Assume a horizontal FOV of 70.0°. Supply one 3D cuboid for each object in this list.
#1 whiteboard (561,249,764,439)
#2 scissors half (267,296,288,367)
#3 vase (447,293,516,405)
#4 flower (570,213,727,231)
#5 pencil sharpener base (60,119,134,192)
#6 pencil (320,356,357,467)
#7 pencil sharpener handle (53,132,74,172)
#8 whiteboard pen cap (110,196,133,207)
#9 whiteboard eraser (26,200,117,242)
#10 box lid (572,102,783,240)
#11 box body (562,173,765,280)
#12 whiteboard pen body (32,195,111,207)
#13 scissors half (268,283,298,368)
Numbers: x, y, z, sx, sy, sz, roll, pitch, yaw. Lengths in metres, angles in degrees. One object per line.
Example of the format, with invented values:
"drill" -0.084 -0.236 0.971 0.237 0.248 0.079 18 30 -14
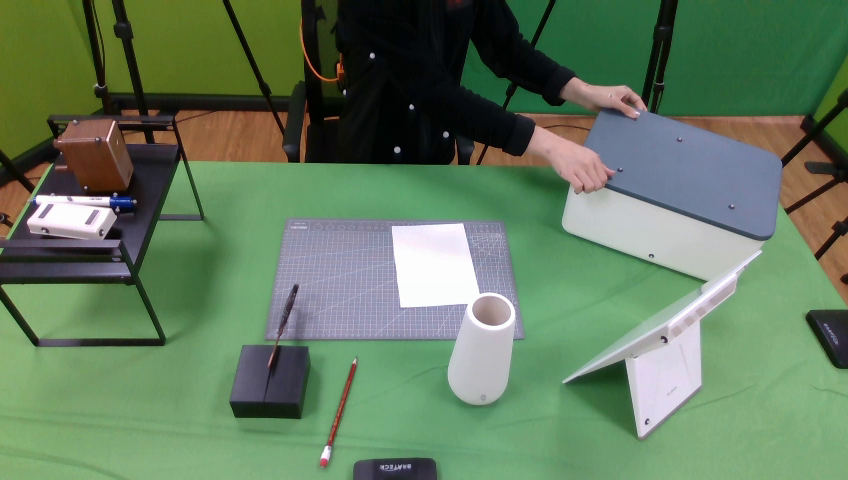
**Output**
"whiteboard" 0.386 0.176 0.905 0.217 0.306 0.143 -26 72 -26
"scissors half" -0.239 0.150 0.997 0.013 0.040 0.174 24 24 -13
"vase" 0.091 0.169 0.921 0.098 0.201 0.097 3 47 -3
"flower" 0.479 -0.039 1.270 0.362 0.038 0.044 -1 15 -13
"pencil sharpener base" -0.528 -0.135 0.979 0.077 0.107 0.061 -4 47 -7
"pencil" -0.130 0.261 0.946 0.012 0.012 0.193 10 45 5
"pencil sharpener handle" -0.578 -0.138 0.961 0.031 0.068 0.036 -4 34 -7
"whiteboard pen cap" -0.486 -0.061 0.972 0.033 0.018 0.018 0 46 -9
"whiteboard eraser" -0.532 -0.026 0.919 0.113 0.042 0.055 7 45 3
"box lid" 0.491 -0.143 1.163 0.370 0.015 0.262 22 51 14
"box body" 0.486 -0.089 1.222 0.363 0.161 0.253 20 48 15
"whiteboard pen body" -0.543 -0.061 0.961 0.141 0.017 0.017 1 46 -10
"scissors half" -0.230 0.135 0.986 0.013 0.040 0.174 19 43 -11
